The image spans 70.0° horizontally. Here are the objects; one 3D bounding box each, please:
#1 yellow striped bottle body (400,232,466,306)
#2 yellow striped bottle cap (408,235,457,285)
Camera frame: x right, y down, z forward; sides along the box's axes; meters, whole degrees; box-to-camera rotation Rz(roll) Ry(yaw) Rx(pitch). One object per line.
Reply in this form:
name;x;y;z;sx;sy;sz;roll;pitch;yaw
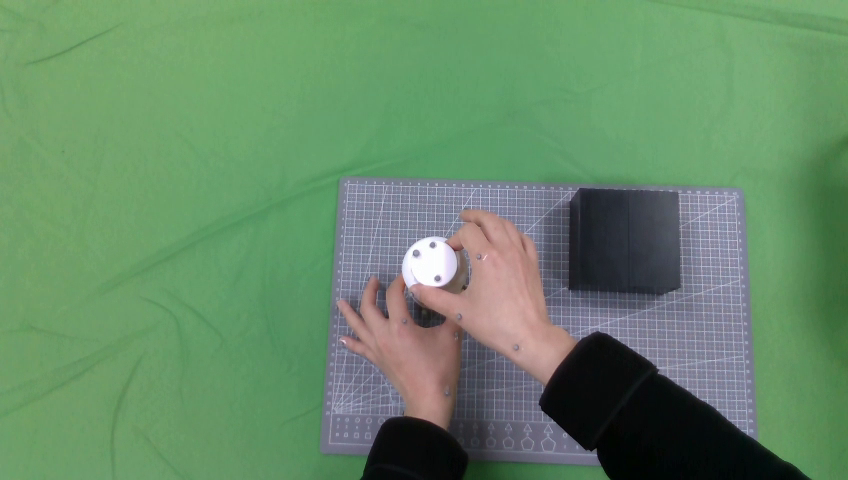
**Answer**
yellow striped bottle body;0.009;0.029;0.602;0.063;0.121;0.062;0;79;1
yellow striped bottle cap;0.008;0.018;0.551;0.044;0.019;0.044;-1;79;4
